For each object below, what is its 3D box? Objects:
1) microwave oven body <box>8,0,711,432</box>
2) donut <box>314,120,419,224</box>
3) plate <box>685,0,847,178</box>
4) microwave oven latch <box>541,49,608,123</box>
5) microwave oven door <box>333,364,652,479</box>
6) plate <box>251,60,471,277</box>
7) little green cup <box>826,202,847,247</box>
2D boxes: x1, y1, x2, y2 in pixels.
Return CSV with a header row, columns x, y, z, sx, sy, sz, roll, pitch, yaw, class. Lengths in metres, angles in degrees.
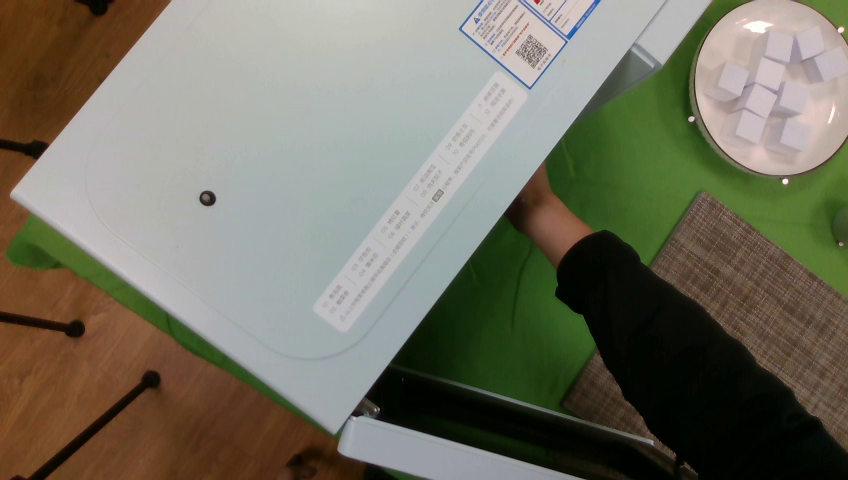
x,y,z,sx,sy,sz,roll,pitch,yaw,class
-0.050,-0.119,0.543,0.327,0.260,0.441,38,86,-5,microwave oven body
-0.054,-0.064,0.576,0.099,0.048,0.099,0,94,-6,donut
0.401,-0.174,0.710,0.208,0.039,0.207,0,90,-6,plate
0.165,-0.167,0.664,0.030,0.029,0.079,42,86,-5,microwave oven latch
0.095,0.189,0.554,0.356,0.243,0.039,17,86,-6,microwave oven door
-0.059,-0.068,0.588,0.209,0.038,0.208,1,87,-8,plate
0.517,-0.019,0.723,0.061,0.038,0.061,0,89,-6,little green cup
